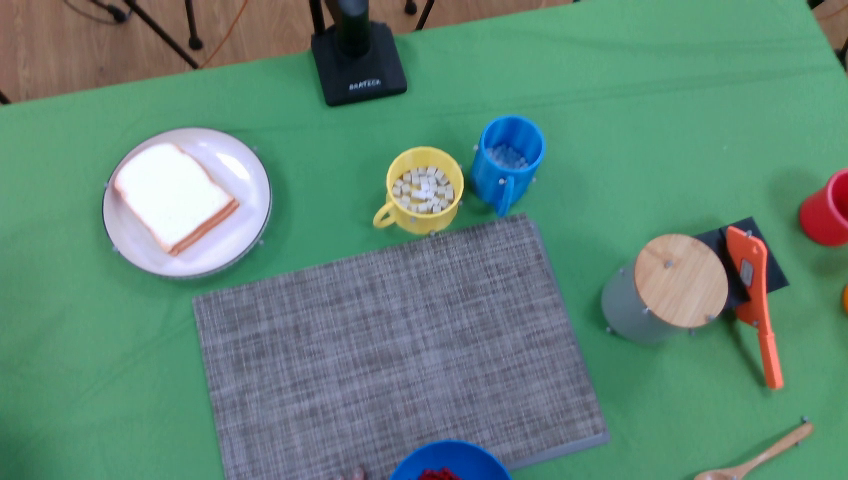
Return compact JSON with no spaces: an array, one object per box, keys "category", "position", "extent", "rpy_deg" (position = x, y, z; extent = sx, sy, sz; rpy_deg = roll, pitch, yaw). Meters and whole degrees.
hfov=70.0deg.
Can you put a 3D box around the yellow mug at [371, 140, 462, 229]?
[{"category":"yellow mug","position":[-0.015,-0.063,0.791],"extent":[0.131,0.064,0.099],"rpy_deg":[-35,77,-13]}]

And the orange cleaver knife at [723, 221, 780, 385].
[{"category":"orange cleaver knife","position":[0.414,0.079,0.769],"extent":[0.012,0.077,0.212],"rpy_deg":[-16,100,-8]}]

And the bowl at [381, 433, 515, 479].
[{"category":"bowl","position":[0.026,0.292,0.668],"extent":[0.151,0.077,0.150],"rpy_deg":[1,70,-2]}]

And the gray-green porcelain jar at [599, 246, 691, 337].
[{"category":"gray-green porcelain jar","position":[0.280,0.061,0.742],"extent":[0.106,0.127,0.105],"rpy_deg":[1,72,-4]}]

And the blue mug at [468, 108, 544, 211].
[{"category":"blue mug","position":[0.104,-0.096,0.790],"extent":[0.082,0.106,0.116],"rpy_deg":[6,72,-2]}]

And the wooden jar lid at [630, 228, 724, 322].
[{"category":"wooden jar lid","position":[0.283,0.040,0.683],"extent":[0.108,0.021,0.108],"rpy_deg":[2,74,-6]}]

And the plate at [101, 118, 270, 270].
[{"category":"plate","position":[-0.302,-0.057,0.782],"extent":[0.208,0.039,0.206],"rpy_deg":[1,72,-4]}]

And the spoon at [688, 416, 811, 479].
[{"category":"spoon","position":[0.403,0.263,0.741],"extent":[0.194,0.022,0.041],"rpy_deg":[-25,57,-11]}]
